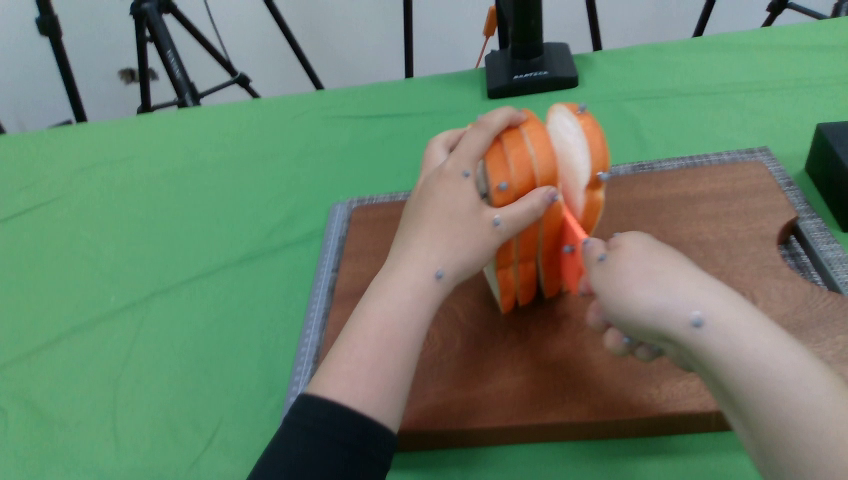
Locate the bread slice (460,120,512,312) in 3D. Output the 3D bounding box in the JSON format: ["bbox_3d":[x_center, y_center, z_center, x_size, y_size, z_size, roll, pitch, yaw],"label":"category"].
[{"bbox_3d":[0.048,-0.027,0.484,0.018,0.135,0.106,-11,37,-5],"label":"bread slice"}]

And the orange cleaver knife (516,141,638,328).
[{"bbox_3d":[0.103,0.000,0.450,0.012,0.078,0.209,-12,39,-5],"label":"orange cleaver knife"}]

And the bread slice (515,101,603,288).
[{"bbox_3d":[0.108,-0.042,0.487,0.019,0.132,0.103,-3,40,-13],"label":"bread slice"}]
